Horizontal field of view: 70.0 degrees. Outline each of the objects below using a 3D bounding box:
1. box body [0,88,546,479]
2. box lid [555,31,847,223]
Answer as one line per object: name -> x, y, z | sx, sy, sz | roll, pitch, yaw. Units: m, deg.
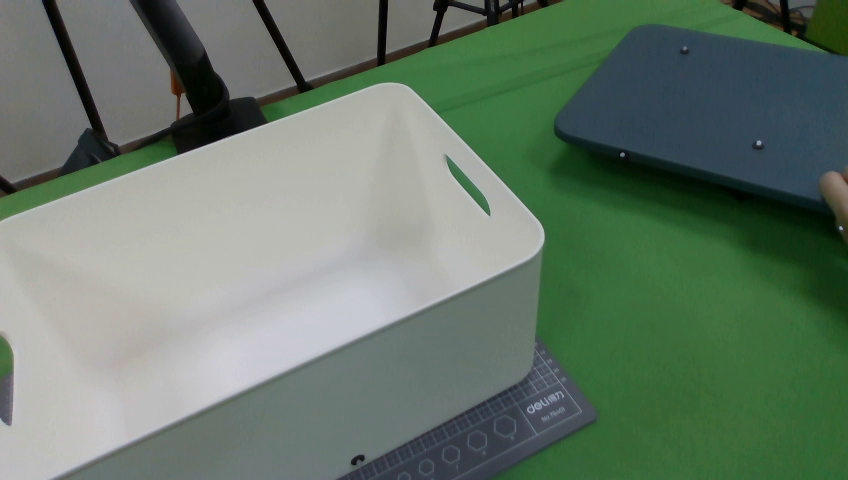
box body -> -0.117, 0.055, 0.476 | 0.364, 0.162, 0.251 | -23, 45, -13
box lid -> 0.351, -0.132, 0.634 | 0.368, 0.015, 0.262 | 22, 52, 28
